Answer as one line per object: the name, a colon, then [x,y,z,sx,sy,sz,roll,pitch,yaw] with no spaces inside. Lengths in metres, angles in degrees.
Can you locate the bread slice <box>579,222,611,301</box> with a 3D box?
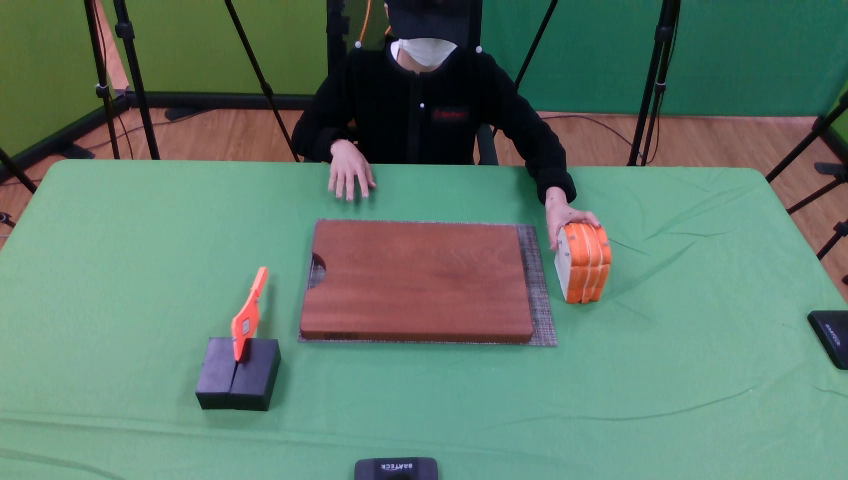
bread slice: [0.312,0.036,1.111,0.018,0.135,0.106,-6,52,-3]

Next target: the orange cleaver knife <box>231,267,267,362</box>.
orange cleaver knife: [-0.291,0.119,1.019,0.012,0.077,0.210,0,27,0]

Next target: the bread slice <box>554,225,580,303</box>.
bread slice: [0.261,0.037,1.109,0.019,0.132,0.104,-6,46,0]
